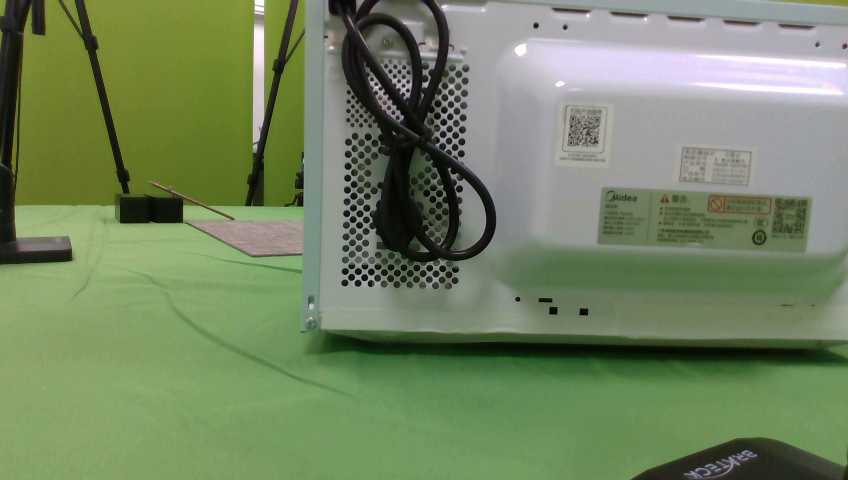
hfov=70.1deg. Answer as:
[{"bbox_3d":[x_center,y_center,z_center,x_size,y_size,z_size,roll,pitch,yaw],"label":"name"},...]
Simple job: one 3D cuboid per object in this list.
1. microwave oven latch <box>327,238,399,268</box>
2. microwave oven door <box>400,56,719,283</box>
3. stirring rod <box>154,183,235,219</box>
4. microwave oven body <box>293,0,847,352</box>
[{"bbox_3d":[-0.069,0.015,0.694,0.079,0.029,0.030,3,7,-3],"label":"microwave oven latch"},{"bbox_3d":[0.155,-0.077,0.697,0.356,0.243,0.039,2,8,-5],"label":"microwave oven door"},{"bbox_3d":[-0.472,-0.079,1.252,0.177,0.006,0.014,27,4,-35],"label":"stirring rod"},{"bbox_3d":[0.122,-0.055,0.550,0.442,0.260,0.325,3,7,-5],"label":"microwave oven body"}]
